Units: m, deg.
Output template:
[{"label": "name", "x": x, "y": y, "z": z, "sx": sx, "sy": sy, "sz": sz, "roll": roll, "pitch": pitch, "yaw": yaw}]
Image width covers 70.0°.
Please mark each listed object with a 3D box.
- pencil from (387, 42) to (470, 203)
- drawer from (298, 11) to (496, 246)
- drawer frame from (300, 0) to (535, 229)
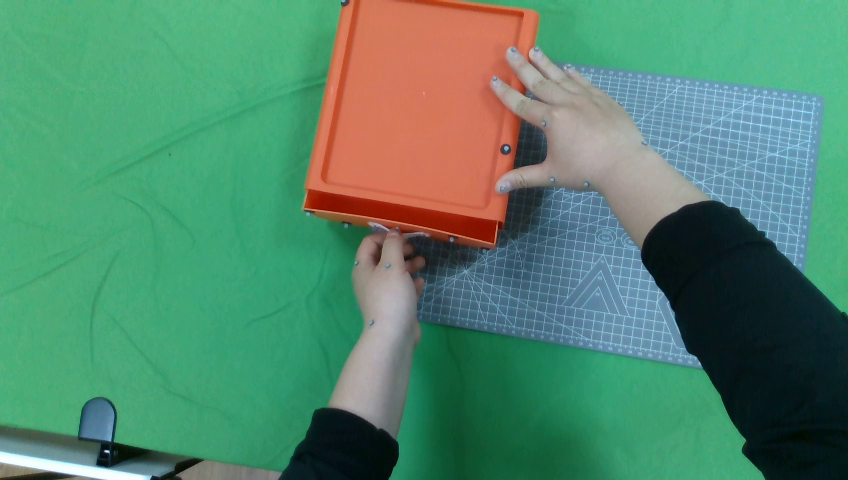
[{"label": "pencil", "x": 0.006, "y": -0.126, "z": 0.647, "sx": 0.012, "sy": 0.012, "sz": 0.193, "roll": -26, "pitch": 86, "yaw": 3}, {"label": "drawer", "x": -0.008, "y": -0.111, "z": 0.622, "sx": 0.194, "sy": 0.073, "sz": 0.211, "roll": 10, "pitch": 85, "yaw": 7}, {"label": "drawer frame", "x": -0.004, "y": -0.133, "z": 0.623, "sx": 0.201, "sy": 0.083, "sz": 0.213, "roll": 9, "pitch": 85, "yaw": 7}]
